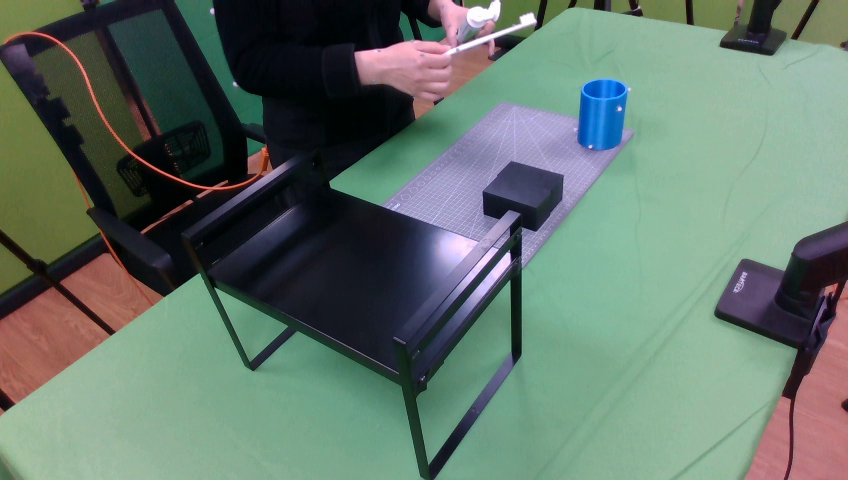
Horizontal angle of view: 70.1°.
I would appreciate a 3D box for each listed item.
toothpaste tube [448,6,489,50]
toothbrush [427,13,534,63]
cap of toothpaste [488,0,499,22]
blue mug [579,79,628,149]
[{"bbox_3d":[0.085,-0.388,1.114,0.055,0.034,0.164,-22,2,-10],"label":"toothpaste tube"},{"bbox_3d":[0.087,-0.322,0.967,0.181,0.017,0.014,-17,19,19],"label":"toothbrush"},{"bbox_3d":[0.118,-0.391,1.029,0.011,0.037,0.037,1,38,-18],"label":"cap of toothpaste"},{"bbox_3d":[0.336,-0.246,1.143,0.082,0.106,0.116,0,41,10],"label":"blue mug"}]
